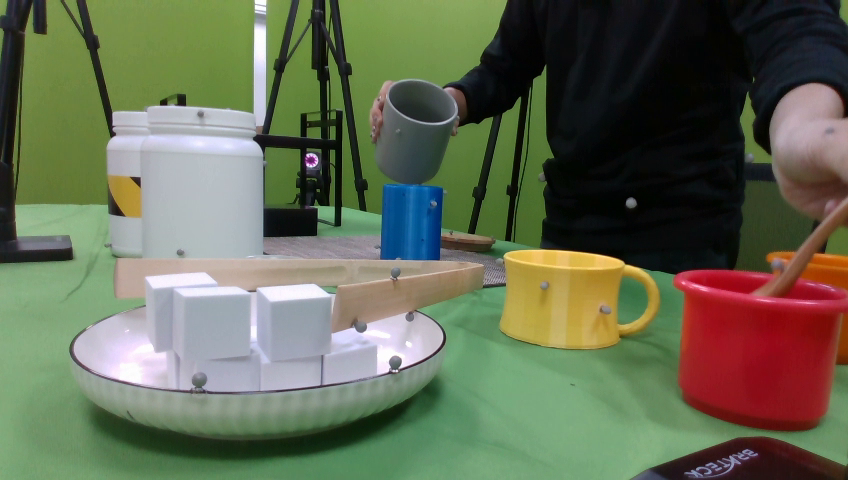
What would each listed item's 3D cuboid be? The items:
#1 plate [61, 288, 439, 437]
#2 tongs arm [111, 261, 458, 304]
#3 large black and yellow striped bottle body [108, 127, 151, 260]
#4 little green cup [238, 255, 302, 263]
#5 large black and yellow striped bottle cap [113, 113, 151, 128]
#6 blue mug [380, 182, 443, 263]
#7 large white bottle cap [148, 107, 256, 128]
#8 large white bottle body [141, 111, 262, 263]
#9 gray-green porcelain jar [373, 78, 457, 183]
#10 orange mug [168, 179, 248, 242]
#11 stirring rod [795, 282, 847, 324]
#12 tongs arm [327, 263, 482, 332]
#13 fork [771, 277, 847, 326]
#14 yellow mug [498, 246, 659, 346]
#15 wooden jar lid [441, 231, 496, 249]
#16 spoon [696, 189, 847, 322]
[{"bbox_3d":[-0.095,0.069,0.362,0.208,0.039,0.207,3,7,0],"label":"plate"},{"bbox_3d":[-0.080,0.032,0.527,0.028,0.027,0.389,-3,-3,33],"label":"tongs arm"},{"bbox_3d":[-0.350,-0.071,0.812,0.131,0.184,0.130,2,8,0],"label":"large black and yellow striped bottle body"},{"bbox_3d":[-0.150,0.038,0.590,0.061,0.038,0.061,3,6,0],"label":"little green cup"},{"bbox_3d":[-0.348,-0.154,0.800,0.115,0.019,0.115,2,6,0],"label":"large black and yellow striped bottle cap"},{"bbox_3d":[-0.019,-0.026,0.833,0.082,0.106,0.116,1,7,-6],"label":"blue mug"},{"bbox_3d":[-0.250,-0.137,0.686,0.115,0.018,0.115,2,8,0],"label":"large white bottle cap"},{"bbox_3d":[-0.254,-0.053,0.697,0.131,0.184,0.130,2,7,0],"label":"large white bottle body"},{"bbox_3d":[-0.017,-0.155,0.892,0.106,0.126,0.105,9,46,-9],"label":"gray-green porcelain jar"},{"bbox_3d":[-0.351,-0.050,0.986,0.126,0.101,0.083,-3,8,-9],"label":"orange mug"},{"bbox_3d":[0.346,0.019,0.460,0.014,0.176,0.006,-17,59,-26],"label":"stirring rod"},{"bbox_3d":[-0.003,0.036,0.493,0.050,0.026,0.386,1,0,19],"label":"tongs arm"},{"bbox_3d":[0.336,0.018,0.443,0.028,0.018,0.207,-2,-36,-20],"label":"fork"},{"bbox_3d":[0.130,0.045,0.508,0.131,0.064,0.100,4,7,6],"label":"yellow mug"},{"bbox_3d":[0.066,0.000,1.011,0.108,0.020,0.108,6,7,0],"label":"wooden jar lid"},{"bbox_3d":[0.231,-0.014,0.334,0.021,0.193,0.042,47,26,19],"label":"spoon"}]
